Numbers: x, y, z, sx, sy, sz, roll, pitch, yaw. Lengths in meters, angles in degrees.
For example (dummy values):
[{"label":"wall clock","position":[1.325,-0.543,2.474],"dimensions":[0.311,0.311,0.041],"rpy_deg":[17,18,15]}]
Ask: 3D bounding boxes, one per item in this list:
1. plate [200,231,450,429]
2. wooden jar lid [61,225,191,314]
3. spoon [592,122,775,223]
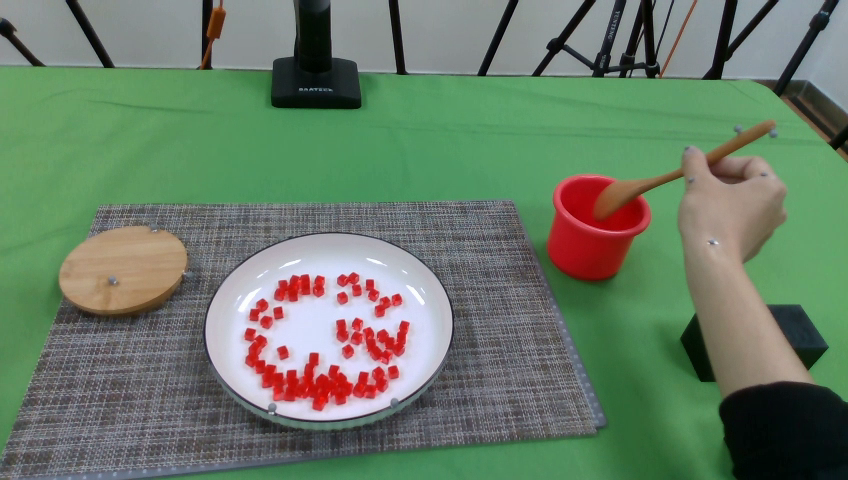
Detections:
[{"label":"plate","position":[-0.082,0.075,0.525],"dimensions":[0.208,0.039,0.205],"rpy_deg":[5,43,-4]},{"label":"wooden jar lid","position":[-0.273,0.028,0.560],"dimensions":[0.108,0.021,0.107],"rpy_deg":[5,42,-4]},{"label":"spoon","position":[0.229,-0.061,0.562],"dimensions":[0.022,0.193,0.041],"rpy_deg":[37,52,-22]}]
